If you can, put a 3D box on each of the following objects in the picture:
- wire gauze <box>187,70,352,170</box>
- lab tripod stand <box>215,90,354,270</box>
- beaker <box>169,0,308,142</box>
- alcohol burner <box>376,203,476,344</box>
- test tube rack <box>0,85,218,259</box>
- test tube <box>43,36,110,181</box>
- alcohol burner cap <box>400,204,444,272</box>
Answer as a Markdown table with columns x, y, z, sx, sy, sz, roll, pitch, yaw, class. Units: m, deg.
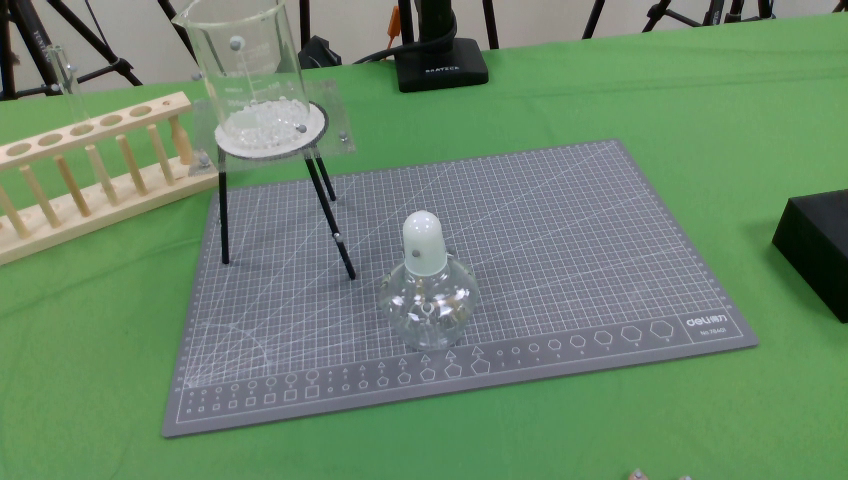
| x | y | z | sx | sy | sz | roll | pitch | yaw | class |
| --- | --- | --- | --- | --- | --- | --- | --- | --- | --- |
| -0.127 | -0.097 | 0.487 | 0.125 | 0.011 | 0.120 | -14 | 41 | -5 | wire gauze |
| -0.123 | -0.050 | 0.531 | 0.148 | 0.133 | 0.147 | -3 | 45 | 3 | lab tripod stand |
| -0.133 | -0.131 | 0.451 | 0.084 | 0.101 | 0.073 | -7 | 42 | 0 | beaker |
| 0.001 | 0.022 | 0.457 | 0.078 | 0.120 | 0.077 | -2 | 41 | 2 | alcohol burner |
| -0.344 | -0.070 | 0.612 | 0.242 | 0.086 | 0.066 | -25 | 46 | -21 | test tube rack |
| -0.340 | -0.124 | 0.597 | 0.017 | 0.151 | 0.017 | 0 | 36 | 1 | test tube |
| -0.003 | -0.004 | 0.433 | 0.034 | 0.048 | 0.033 | -3 | 45 | 4 | alcohol burner cap |
